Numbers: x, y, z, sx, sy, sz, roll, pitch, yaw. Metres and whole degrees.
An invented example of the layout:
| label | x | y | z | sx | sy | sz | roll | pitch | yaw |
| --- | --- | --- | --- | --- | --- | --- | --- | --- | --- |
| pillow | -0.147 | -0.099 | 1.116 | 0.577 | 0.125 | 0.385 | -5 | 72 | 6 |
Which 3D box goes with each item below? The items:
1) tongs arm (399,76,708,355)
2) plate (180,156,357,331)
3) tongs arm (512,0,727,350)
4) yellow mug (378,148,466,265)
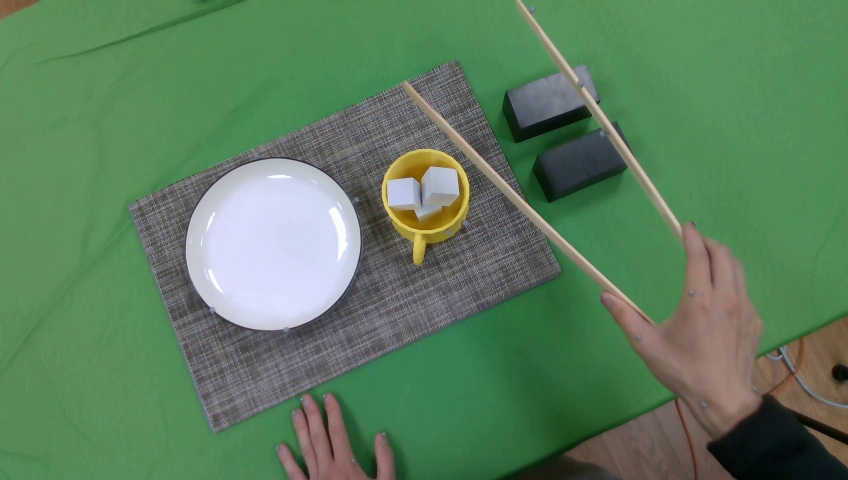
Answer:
| label | x | y | z | sx | sy | sz | roll | pitch | yaw |
| --- | --- | --- | --- | --- | --- | --- | --- | --- | --- |
| tongs arm | 0.107 | -0.029 | 0.575 | 0.028 | 0.028 | 0.385 | -42 | 76 | -7 |
| plate | -0.181 | 0.005 | 0.721 | 0.207 | 0.039 | 0.207 | 0 | 81 | 2 |
| tongs arm | 0.170 | -0.074 | 0.575 | 0.051 | 0.026 | 0.382 | -31 | 76 | 0 |
| yellow mug | -0.003 | -0.035 | 0.706 | 0.100 | 0.064 | 0.130 | 7 | 81 | 3 |
